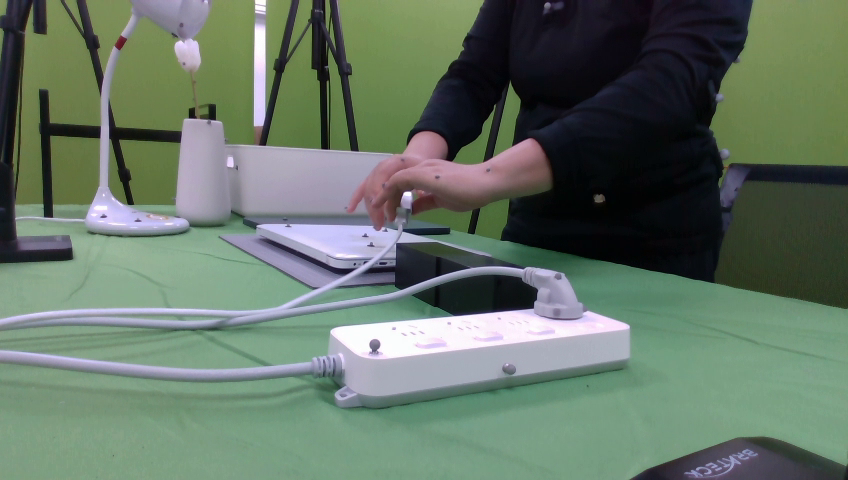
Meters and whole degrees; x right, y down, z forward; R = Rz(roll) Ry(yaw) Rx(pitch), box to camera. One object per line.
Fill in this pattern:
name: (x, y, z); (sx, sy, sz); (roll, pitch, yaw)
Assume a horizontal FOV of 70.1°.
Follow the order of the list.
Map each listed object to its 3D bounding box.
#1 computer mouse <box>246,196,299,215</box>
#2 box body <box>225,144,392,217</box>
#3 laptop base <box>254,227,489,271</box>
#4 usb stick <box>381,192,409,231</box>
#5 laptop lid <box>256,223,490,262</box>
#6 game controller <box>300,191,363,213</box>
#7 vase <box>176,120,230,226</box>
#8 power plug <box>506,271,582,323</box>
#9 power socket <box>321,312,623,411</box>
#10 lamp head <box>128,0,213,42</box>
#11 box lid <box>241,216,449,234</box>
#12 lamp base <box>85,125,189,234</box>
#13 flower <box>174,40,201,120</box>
computer mouse: (-0.355, -0.082, 1.418); (0.117, 0.041, 0.063); (1, 9, 7)
box body: (-0.289, -0.143, 1.475); (0.366, 0.160, 0.253); (-1, 9, -29)
laptop base: (-0.096, 0.012, 0.912); (0.237, 0.023, 0.352); (2, 7, -32)
usb stick: (-0.035, -0.039, 0.761); (0.021, 0.027, 0.059); (26, 37, -5)
laptop lid: (-0.093, 0.000, 0.911); (0.243, 0.013, 0.355); (1, 7, -30)
game controller: (-0.240, -0.098, 1.550); (0.155, 0.051, 0.097); (3, 9, 5)
vase: (-0.425, -0.128, 1.159); (0.098, 0.200, 0.098); (2, 9, 0)
power plug: (0.093, 0.052, 0.469); (0.035, 0.052, 0.072); (0, 5, -17)
power socket: (0.039, 0.075, 0.410); (0.228, 0.032, 0.072); (-1, 8, -28)
lamp head: (-0.423, -0.395, 0.980); (0.123, 0.112, 0.112); (20, 7, -3)
box lid: (-0.162, -0.030, 1.233); (0.373, 0.015, 0.262); (-1, 8, -32)
lamp base: (-0.498, -0.105, 1.027); (0.179, 0.180, 0.160); (1, 7, 2)
flower: (-0.430, -0.211, 1.165); (0.044, 0.361, 0.038); (-10, -5, -23)
